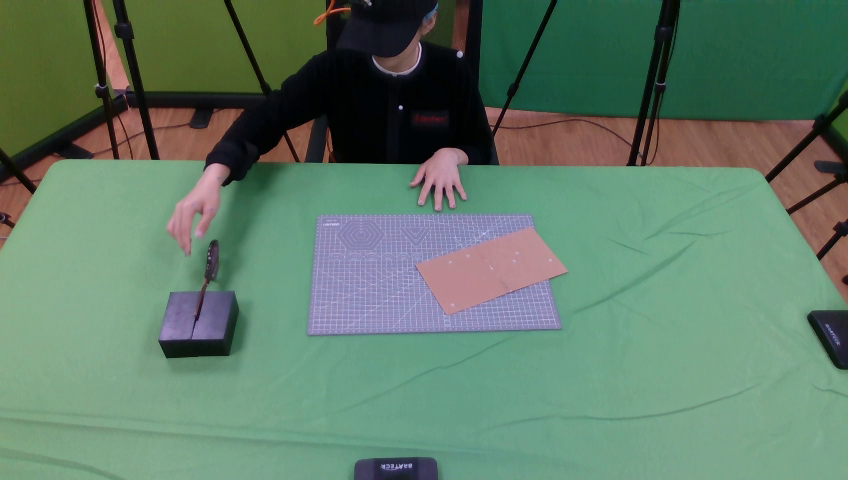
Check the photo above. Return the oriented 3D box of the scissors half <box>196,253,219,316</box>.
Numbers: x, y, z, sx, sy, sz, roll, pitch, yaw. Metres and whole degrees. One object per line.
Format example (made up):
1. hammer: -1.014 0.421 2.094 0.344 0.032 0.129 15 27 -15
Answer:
1. scissors half: -0.379 0.078 1.062 0.013 0.040 0.174 3 30 -8

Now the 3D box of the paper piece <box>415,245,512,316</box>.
1. paper piece: 0.072 0.071 1.140 0.138 0.009 0.135 -18 46 -18

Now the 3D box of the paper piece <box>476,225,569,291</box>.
1. paper piece: 0.192 0.033 1.185 0.136 0.004 0.134 -17 50 -19

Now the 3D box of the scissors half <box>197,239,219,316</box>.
1. scissors half: -0.375 0.063 1.049 0.013 0.040 0.174 7 46 -12
